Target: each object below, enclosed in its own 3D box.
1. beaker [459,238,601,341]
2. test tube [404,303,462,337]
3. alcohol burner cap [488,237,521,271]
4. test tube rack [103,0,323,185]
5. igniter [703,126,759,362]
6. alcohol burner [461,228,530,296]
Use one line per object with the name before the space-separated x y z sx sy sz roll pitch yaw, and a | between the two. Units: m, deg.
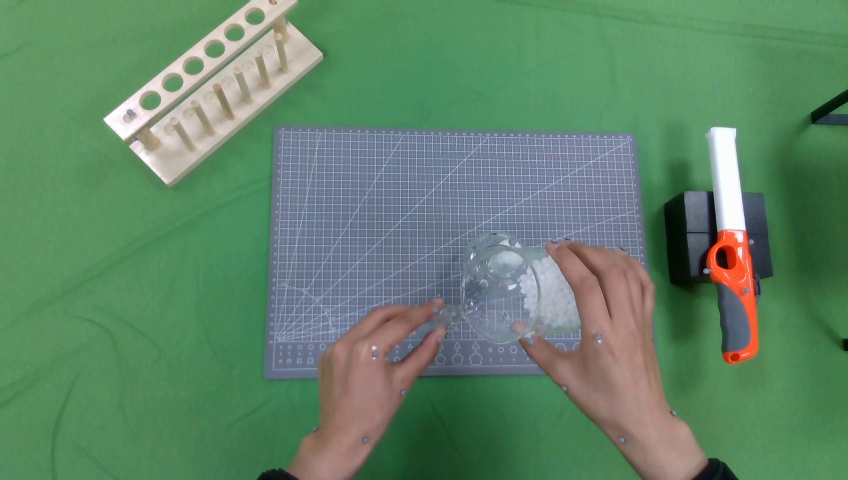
beaker | 0.086 0.041 0.483 0.101 0.084 0.073 2 64 -45
test tube | 0.004 0.074 0.549 0.017 0.150 0.017 4 76 -14
alcohol burner cap | 0.086 0.013 0.626 0.034 0.048 0.033 0 79 -1
test tube rack | -0.230 -0.178 0.690 0.066 0.085 0.242 44 77 6
igniter | 0.347 0.000 0.691 0.057 0.025 0.275 3 75 -3
alcohol burner | 0.082 0.021 0.661 0.078 0.119 0.077 2 75 -6
